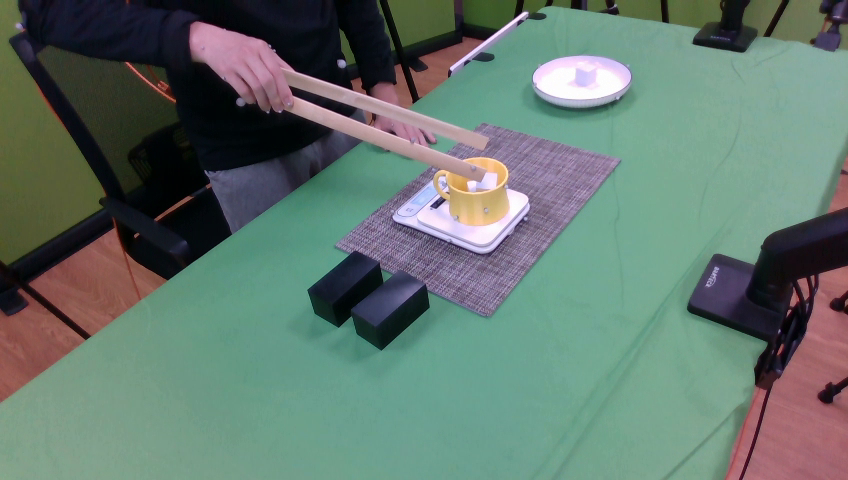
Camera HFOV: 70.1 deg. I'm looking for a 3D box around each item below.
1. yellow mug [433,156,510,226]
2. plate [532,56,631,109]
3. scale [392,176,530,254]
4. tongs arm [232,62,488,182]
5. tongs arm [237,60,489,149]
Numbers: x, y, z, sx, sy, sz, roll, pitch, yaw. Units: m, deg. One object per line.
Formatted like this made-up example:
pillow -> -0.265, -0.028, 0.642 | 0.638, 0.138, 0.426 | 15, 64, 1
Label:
yellow mug -> 0.072, -0.082, 0.969 | 0.130, 0.064, 0.100 | 13, 46, 24
plate -> 0.336, -0.335, 1.301 | 0.207, 0.039, 0.206 | -4, 41, 4
scale -> 0.060, -0.051, 1.006 | 0.199, 0.032, 0.149 | 22, 48, 30
tongs arm -> -0.091, -0.167, 0.869 | 0.386, 0.026, 0.050 | 18, 41, -8
tongs arm -> -0.085, -0.201, 0.910 | 0.389, 0.028, 0.028 | 15, 45, -11
